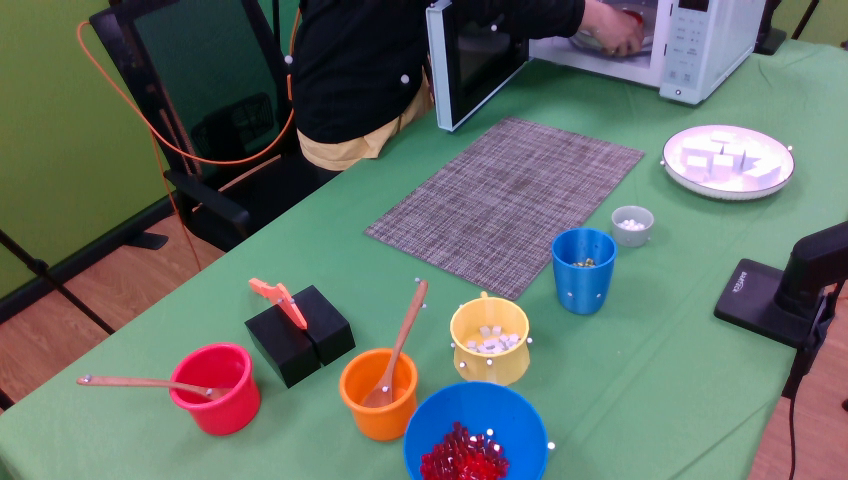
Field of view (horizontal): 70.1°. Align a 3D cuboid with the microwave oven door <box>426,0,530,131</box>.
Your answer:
[{"bbox_3d":[0.124,-0.418,1.250,0.039,0.245,0.356,19,47,29],"label":"microwave oven door"}]

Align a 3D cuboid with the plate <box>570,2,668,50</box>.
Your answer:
[{"bbox_3d":[0.435,-0.476,1.356,0.209,0.038,0.208,-6,41,5],"label":"plate"}]

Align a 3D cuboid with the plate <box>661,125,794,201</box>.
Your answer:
[{"bbox_3d":[0.513,-0.128,1.035,0.207,0.039,0.206,-4,40,4],"label":"plate"}]

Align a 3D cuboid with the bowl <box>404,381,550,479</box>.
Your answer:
[{"bbox_3d":[0.058,0.235,0.645,0.151,0.077,0.150,-4,39,4],"label":"bowl"}]

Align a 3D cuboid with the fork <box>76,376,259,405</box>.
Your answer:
[{"bbox_3d":[-0.295,0.176,0.716,0.209,0.018,0.028,19,27,-37],"label":"fork"}]

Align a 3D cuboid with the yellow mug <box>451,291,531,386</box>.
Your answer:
[{"bbox_3d":[0.085,0.120,0.786,0.100,0.064,0.130,-7,39,1],"label":"yellow mug"}]

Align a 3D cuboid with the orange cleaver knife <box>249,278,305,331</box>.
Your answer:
[{"bbox_3d":[-0.210,0.088,0.856,0.012,0.077,0.210,-28,15,-25],"label":"orange cleaver knife"}]

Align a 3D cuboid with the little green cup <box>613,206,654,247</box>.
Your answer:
[{"bbox_3d":[0.322,-0.019,0.936,0.061,0.039,0.061,-3,41,3],"label":"little green cup"}]

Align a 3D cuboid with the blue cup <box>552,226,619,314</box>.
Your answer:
[{"bbox_3d":[0.218,0.047,0.825,0.092,0.101,0.092,-6,40,5],"label":"blue cup"}]

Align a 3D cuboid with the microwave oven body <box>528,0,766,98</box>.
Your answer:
[{"bbox_3d":[0.472,-0.513,1.317,0.438,0.261,0.327,26,51,34],"label":"microwave oven body"}]

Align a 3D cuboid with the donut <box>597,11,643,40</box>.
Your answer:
[{"bbox_3d":[0.435,-0.479,1.347,0.099,0.048,0.098,-5,39,4],"label":"donut"}]

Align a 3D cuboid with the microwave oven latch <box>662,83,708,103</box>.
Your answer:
[{"bbox_3d":[0.518,-0.297,1.204,0.078,0.029,0.030,29,53,36],"label":"microwave oven latch"}]

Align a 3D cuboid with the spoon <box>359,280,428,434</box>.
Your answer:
[{"bbox_3d":[-0.032,0.138,0.719,0.041,0.193,0.022,22,4,30],"label":"spoon"}]
